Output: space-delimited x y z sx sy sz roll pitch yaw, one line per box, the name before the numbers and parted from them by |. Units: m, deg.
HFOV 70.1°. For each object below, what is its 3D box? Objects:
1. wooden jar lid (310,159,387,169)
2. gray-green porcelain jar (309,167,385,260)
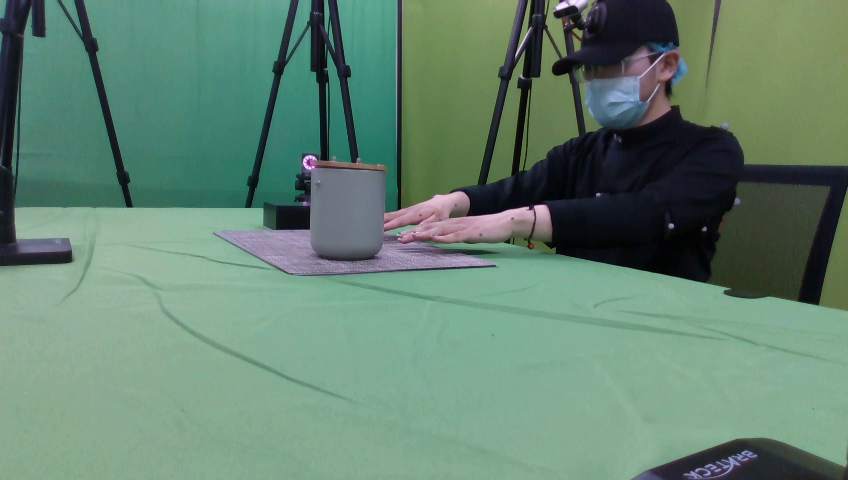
wooden jar lid | -0.107 -0.101 0.851 0.108 0.020 0.108 4 6 0
gray-green porcelain jar | -0.109 -0.040 0.859 0.106 0.126 0.106 2 7 0
